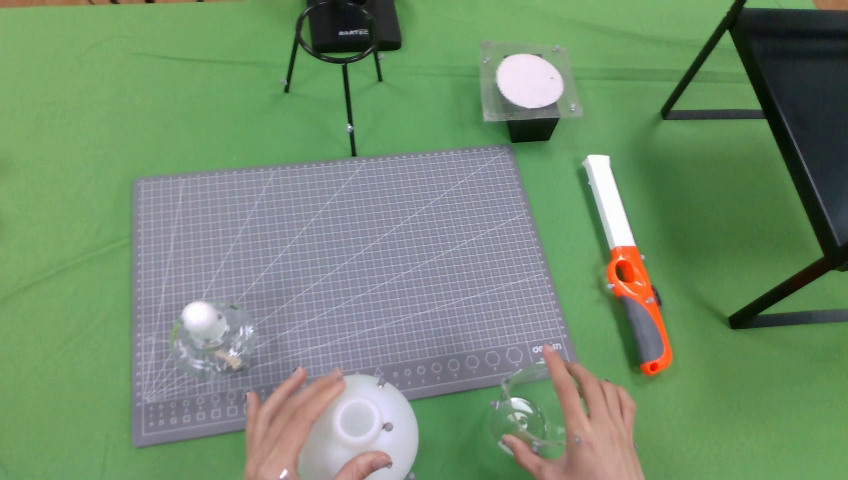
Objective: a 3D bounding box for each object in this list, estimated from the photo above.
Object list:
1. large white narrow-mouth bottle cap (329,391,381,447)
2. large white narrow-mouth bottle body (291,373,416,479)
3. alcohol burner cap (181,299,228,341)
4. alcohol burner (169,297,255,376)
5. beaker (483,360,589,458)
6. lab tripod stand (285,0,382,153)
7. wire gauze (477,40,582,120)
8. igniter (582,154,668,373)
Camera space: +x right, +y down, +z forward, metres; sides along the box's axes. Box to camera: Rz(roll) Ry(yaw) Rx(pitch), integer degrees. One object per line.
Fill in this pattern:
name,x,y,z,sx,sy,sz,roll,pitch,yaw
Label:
large white narrow-mouth bottle cap,-0.048,0.126,0.428,0.038,0.024,0.037,3,63,-6
large white narrow-mouth bottle body,-0.058,0.165,0.501,0.102,0.196,0.101,3,63,-6
alcohol burner cap,-0.195,0.069,0.532,0.034,0.048,0.033,2,70,-4
alcohol burner,-0.199,0.084,0.564,0.078,0.120,0.077,4,62,-7
beaker,0.098,0.163,0.576,0.084,0.101,0.073,25,60,4
lab tripod stand,-0.097,-0.198,0.710,0.149,0.132,0.147,4,64,-8
wire gauze,0.129,-0.200,0.757,0.122,0.011,0.124,0,64,-7
igniter,0.232,0.019,0.707,0.057,0.025,0.274,1,63,-19
